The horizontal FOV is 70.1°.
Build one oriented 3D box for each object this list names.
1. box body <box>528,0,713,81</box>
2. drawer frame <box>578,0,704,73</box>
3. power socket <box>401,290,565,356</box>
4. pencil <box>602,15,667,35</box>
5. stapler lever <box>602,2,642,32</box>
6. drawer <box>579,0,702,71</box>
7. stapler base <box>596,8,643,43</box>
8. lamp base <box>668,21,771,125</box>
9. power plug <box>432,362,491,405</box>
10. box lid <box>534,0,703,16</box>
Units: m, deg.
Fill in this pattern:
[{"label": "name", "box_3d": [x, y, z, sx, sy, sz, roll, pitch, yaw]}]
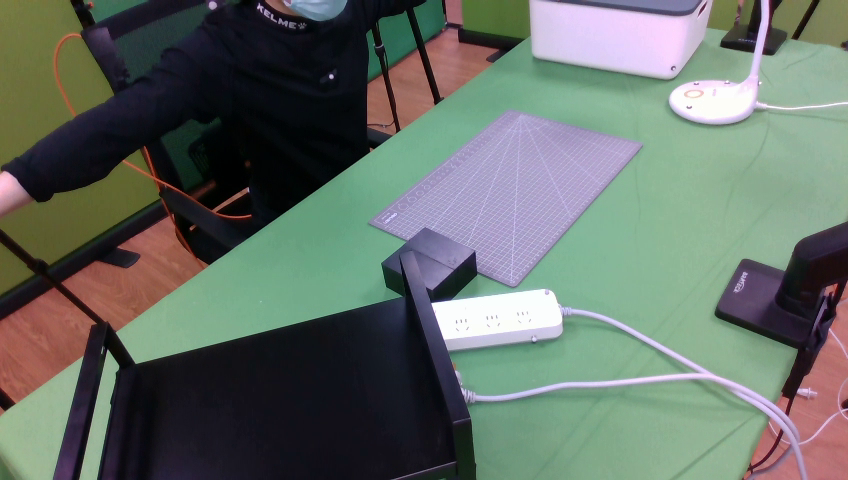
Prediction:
[{"label": "box body", "box_3d": [0.450, -0.512, 1.398, 0.361, 0.161, 0.254, 19, 48, 28]}, {"label": "drawer frame", "box_3d": [0.487, -0.488, 1.361, 0.212, 0.083, 0.202, 23, 61, 22]}, {"label": "power socket", "box_3d": [0.080, 0.112, 0.821, 0.227, 0.033, 0.072, -6, 41, 0]}, {"label": "pencil", "box_3d": [0.484, -0.494, 1.390, 0.195, 0.012, 0.012, -21, 42, -20]}, {"label": "stapler lever", "box_3d": [0.452, -0.517, 1.380, 0.118, 0.040, 0.026, -39, 61, -19]}, {"label": "drawer", "box_3d": [0.485, -0.489, 1.363, 0.210, 0.073, 0.194, 24, 61, 22]}, {"label": "stapler base", "box_3d": [0.454, -0.502, 1.399, 0.131, 0.024, 0.041, -38, 61, -20]}, {"label": "lamp base", "box_3d": [0.577, -0.333, 1.155, 0.179, 0.181, 0.160, 6, 42, 12]}, {"label": "power plug", "box_3d": [0.045, 0.182, 0.758, 0.073, 0.035, 0.052, 21, 43, -18]}, {"label": "box lid", "box_3d": [0.440, -0.569, 1.350, 0.369, 0.015, 0.264, 19, 47, 28]}]
